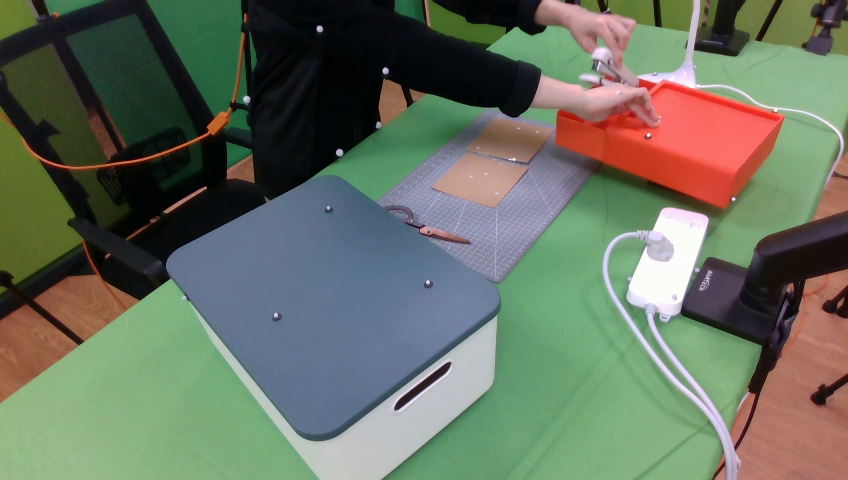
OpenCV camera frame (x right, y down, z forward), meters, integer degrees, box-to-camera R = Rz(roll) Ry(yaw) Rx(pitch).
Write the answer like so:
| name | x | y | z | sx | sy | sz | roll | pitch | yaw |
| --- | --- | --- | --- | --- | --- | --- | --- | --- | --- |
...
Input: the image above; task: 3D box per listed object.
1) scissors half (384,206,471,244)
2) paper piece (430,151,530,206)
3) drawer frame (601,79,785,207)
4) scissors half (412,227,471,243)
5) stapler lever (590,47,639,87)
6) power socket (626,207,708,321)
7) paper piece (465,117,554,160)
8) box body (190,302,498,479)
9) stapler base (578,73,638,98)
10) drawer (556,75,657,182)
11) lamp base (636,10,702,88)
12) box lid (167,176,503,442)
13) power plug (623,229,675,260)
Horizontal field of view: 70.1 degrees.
| name | x | y | z | sx | sy | sz | roll | pitch | yaw |
| --- | --- | --- | --- | --- | --- | --- | --- | --- | --- |
| scissors half | 0.001 | -0.024 | 1.005 | 0.174 | 0.013 | 0.040 | 22 | 58 | 25 |
| paper piece | 0.104 | -0.116 | 1.104 | 0.135 | 0.004 | 0.136 | 20 | 47 | 29 |
| drawer frame | 0.437 | -0.167 | 0.995 | 0.212 | 0.083 | 0.202 | 30 | 52 | 32 |
| scissors half | -0.007 | -0.010 | 0.993 | 0.174 | 0.013 | 0.040 | 8 | 47 | 15 |
| stapler lever | 0.329 | -0.297 | 1.039 | 0.119 | 0.040 | 0.026 | 9 | 16 | -38 |
| power socket | 0.360 | 0.026 | 0.886 | 0.072 | 0.033 | 0.227 | 16 | 46 | 26 |
| paper piece | 0.171 | -0.201 | 1.195 | 0.137 | 0.009 | 0.136 | 17 | 42 | 27 |
| box body | -0.110 | 0.103 | 0.761 | 0.255 | 0.161 | 0.361 | -33 | 46 | -27 |
| stapler base | 0.321 | -0.273 | 1.043 | 0.132 | 0.024 | 0.041 | 8 | 16 | -38 |
| drawer | 0.367 | -0.203 | 1.045 | 0.210 | 0.073 | 0.195 | 30 | 52 | 32 |
| lamp base | 0.484 | -0.364 | 1.211 | 0.180 | 0.181 | 0.159 | -15 | 41 | -14 |
| box lid | -0.119 | 0.047 | 0.714 | 0.264 | 0.015 | 0.368 | -32 | 47 | -27 |
| power plug | 0.327 | 0.007 | 0.878 | 0.072 | 0.053 | 0.035 | 25 | 51 | 33 |
